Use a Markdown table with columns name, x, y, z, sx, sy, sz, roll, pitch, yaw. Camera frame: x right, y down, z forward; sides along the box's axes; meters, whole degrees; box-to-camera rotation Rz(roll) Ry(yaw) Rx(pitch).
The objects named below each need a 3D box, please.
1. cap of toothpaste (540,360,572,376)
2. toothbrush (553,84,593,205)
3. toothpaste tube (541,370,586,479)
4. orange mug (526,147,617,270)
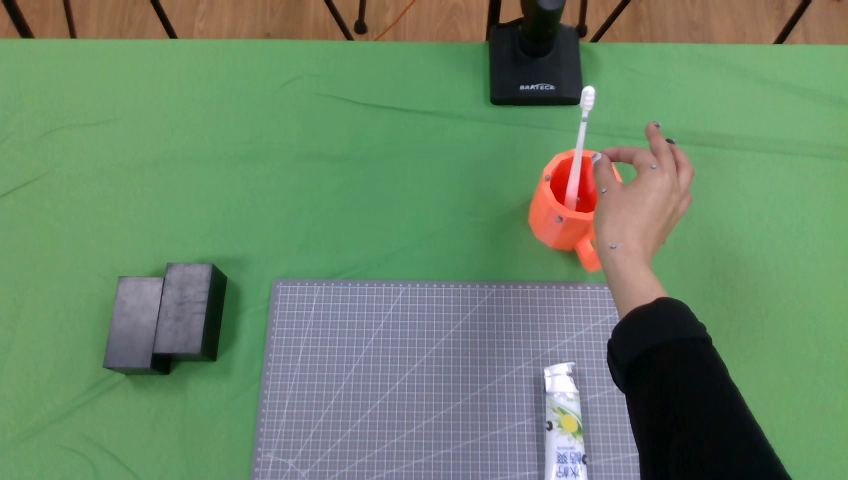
| name | x | y | z | sx | sy | sz | roll | pitch | yaw |
| --- | --- | --- | --- | --- | --- | --- | --- | --- | --- |
| cap of toothpaste | 0.144 | 0.140 | 0.660 | 0.037 | 0.037 | 0.011 | -11 | 67 | -5 |
| toothbrush | 0.159 | -0.080 | 0.668 | 0.014 | 0.183 | 0.016 | -5 | 33 | -18 |
| toothpaste tube | 0.144 | 0.218 | 0.637 | 0.055 | 0.035 | 0.164 | -3 | 74 | 7 |
| orange mug | 0.174 | -0.031 | 0.693 | 0.083 | 0.101 | 0.125 | -20 | 66 | -7 |
